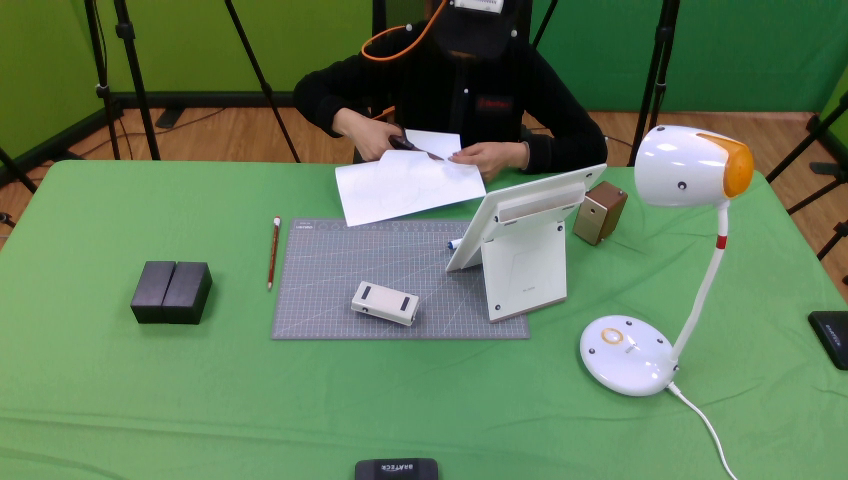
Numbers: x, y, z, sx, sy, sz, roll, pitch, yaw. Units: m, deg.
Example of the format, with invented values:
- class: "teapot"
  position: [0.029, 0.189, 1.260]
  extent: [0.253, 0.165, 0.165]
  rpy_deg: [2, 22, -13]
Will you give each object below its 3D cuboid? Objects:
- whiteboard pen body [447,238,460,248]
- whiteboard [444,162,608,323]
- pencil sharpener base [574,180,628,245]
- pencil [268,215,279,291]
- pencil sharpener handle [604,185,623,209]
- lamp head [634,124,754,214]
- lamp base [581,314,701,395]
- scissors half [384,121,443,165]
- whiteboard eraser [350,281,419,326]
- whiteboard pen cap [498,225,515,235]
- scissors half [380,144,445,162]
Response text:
- class: "whiteboard pen body"
  position: [0.112, -0.006, 1.204]
  extent: [0.141, 0.017, 0.017]
  rpy_deg: [-14, 49, -18]
- class: "whiteboard"
  position: [0.186, 0.025, 1.029]
  extent: [0.217, 0.306, 0.143]
  rpy_deg: [-14, 68, -18]
- class: "pencil sharpener base"
  position: [0.355, -0.056, 1.217]
  extent: [0.076, 0.107, 0.061]
  rpy_deg: [-33, 56, -31]
- class: "pencil"
  position: [-0.291, 0.022, 1.164]
  extent: [0.012, 0.012, 0.192]
  rpy_deg: [-2, 48, -6]
- class: "pencil sharpener handle"
  position: [0.390, -0.091, 1.235]
  extent: [0.030, 0.068, 0.036]
  rpy_deg: [-34, 69, -31]
- class: "lamp head"
  position: [0.351, -0.089, 0.776]
  extent: [0.112, 0.113, 0.122]
  rpy_deg: [-30, 30, -28]
- class: "lamp base"
  position: [0.361, 0.144, 0.972]
  extent: [0.178, 0.181, 0.160]
  rpy_deg: [34, 53, 23]
- class: "scissors half"
  position: [-0.023, -0.210, 1.317]
  extent: [0.174, 0.040, 0.013]
  rpy_deg: [40, 37, 22]
- class: "whiteboard eraser"
  position: [-0.069, 0.113, 1.065]
  extent: [0.112, 0.042, 0.055]
  rpy_deg: [14, 46, 9]
- class: "whiteboard pen cap"
  position: [0.166, -0.019, 1.222]
  extent: [0.033, 0.018, 0.018]
  rpy_deg: [-14, 49, -19]
- class: "scissors half"
  position: [-0.027, -0.189, 1.326]
  extent: [0.174, 0.040, 0.013]
  rpy_deg: [8, 16, 36]
